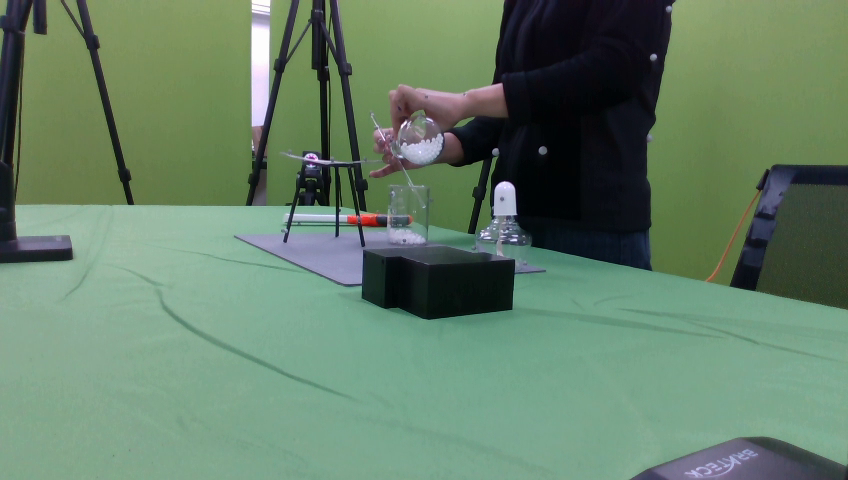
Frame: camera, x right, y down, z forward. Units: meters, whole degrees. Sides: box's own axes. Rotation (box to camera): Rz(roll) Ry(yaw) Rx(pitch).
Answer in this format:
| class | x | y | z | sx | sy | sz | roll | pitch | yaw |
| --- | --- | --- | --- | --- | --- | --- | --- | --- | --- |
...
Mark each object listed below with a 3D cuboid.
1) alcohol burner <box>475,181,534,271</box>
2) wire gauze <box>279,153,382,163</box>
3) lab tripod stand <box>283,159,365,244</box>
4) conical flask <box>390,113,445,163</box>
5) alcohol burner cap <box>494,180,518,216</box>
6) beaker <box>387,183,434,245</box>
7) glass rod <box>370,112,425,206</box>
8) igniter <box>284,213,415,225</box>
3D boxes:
| class | x | y | z | sx | sy | sz | roll | pitch | yaw |
| --- | --- | --- | --- | --- | --- | --- | --- | --- | --- |
| alcohol burner | 0.108 | -0.020 | 0.804 | 0.078 | 0.119 | 0.078 | 3 | 5 | 0 |
| wire gauze | -0.149 | -0.129 | 0.974 | 0.124 | 0.011 | 0.122 | 10 | 9 | 41 |
| lab tripod stand | -0.151 | -0.063 | 0.983 | 0.148 | 0.131 | 0.148 | 4 | 7 | 0 |
| conical flask | -0.020 | -0.155 | 0.957 | 0.075 | 0.075 | 0.121 | -1 | 2 | -19 |
| alcohol burner cap | 0.108 | -0.055 | 0.800 | 0.034 | 0.048 | 0.034 | -2 | 4 | 0 |
| beaker | -0.027 | -0.044 | 1.012 | 0.074 | 0.100 | 0.083 | -2 | 8 | -34 |
| glass rod | -0.046 | -0.139 | 1.017 | 0.008 | 0.199 | 0.008 | -26 | -18 | -9 |
| igniter | -0.154 | -0.045 | 1.282 | 0.278 | 0.025 | 0.057 | 0 | -3 | -20 |
